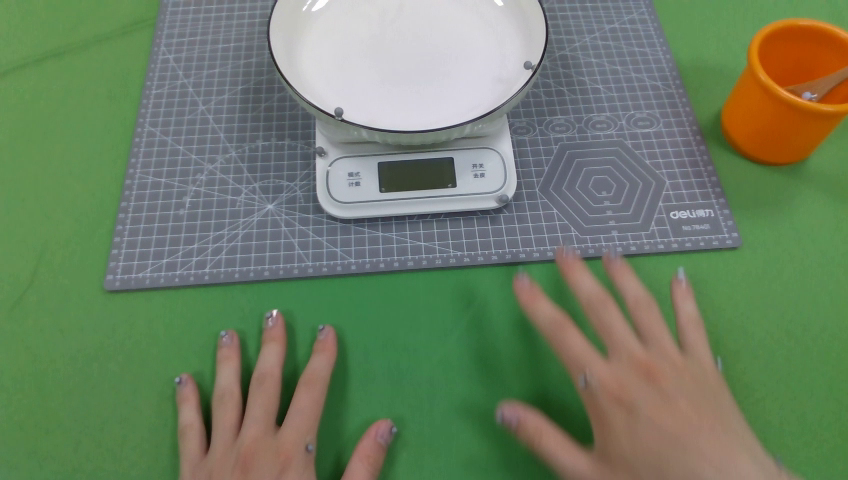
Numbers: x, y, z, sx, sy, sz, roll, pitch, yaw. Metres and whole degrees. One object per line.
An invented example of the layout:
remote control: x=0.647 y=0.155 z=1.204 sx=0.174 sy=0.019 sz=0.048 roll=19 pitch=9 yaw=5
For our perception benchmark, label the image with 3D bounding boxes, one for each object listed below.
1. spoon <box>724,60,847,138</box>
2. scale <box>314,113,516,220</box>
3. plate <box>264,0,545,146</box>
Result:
spoon: x=0.313 y=-0.127 z=0.428 sx=0.022 sy=0.193 sz=0.041 roll=17 pitch=55 yaw=-43
scale: x=-0.012 y=-0.110 z=0.479 sx=0.149 sy=0.032 sz=0.199 roll=-4 pitch=61 yaw=-3
plate: x=-0.014 y=-0.151 z=0.464 sx=0.209 sy=0.038 sz=0.207 roll=1 pitch=61 yaw=-1
